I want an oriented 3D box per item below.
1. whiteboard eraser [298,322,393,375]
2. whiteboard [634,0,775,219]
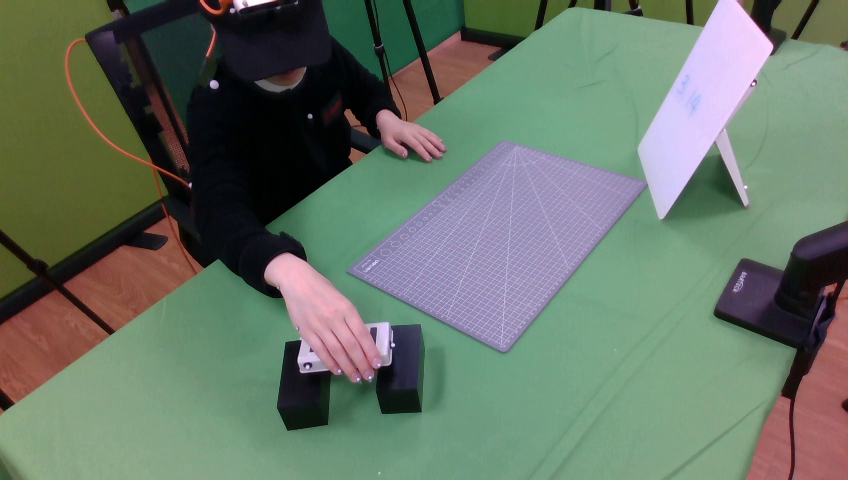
[{"bbox_3d":[-0.095,0.134,0.740,0.113,0.042,0.055,-5,44,3],"label":"whiteboard eraser"},{"bbox_3d":[0.485,-0.193,0.957,0.144,0.305,0.216,14,41,-4],"label":"whiteboard"}]
